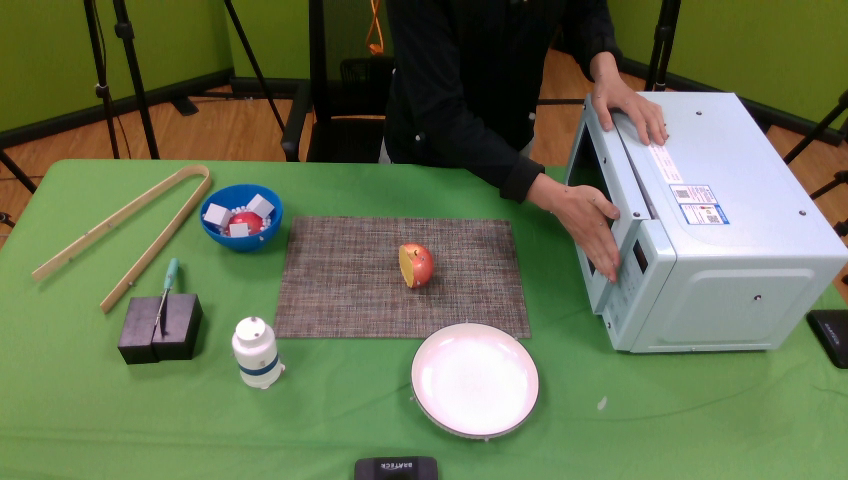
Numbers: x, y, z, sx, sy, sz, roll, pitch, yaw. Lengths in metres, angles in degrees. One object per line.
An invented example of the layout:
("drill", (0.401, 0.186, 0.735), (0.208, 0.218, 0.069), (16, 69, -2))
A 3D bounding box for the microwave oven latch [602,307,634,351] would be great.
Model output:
("microwave oven latch", (0.333, 0.153, 1.044), (0.030, 0.029, 0.078), (-1, 45, -4))

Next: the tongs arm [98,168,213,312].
("tongs arm", (-0.503, -0.012, 1.167), (0.028, 0.028, 0.385), (11, 45, 11))

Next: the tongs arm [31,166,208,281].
("tongs arm", (-0.578, -0.040, 1.184), (0.050, 0.026, 0.384), (23, 47, 17))

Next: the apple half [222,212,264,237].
("apple half", (-0.346, -0.033, 1.161), (0.081, 0.033, 0.081), (4, 46, -4))

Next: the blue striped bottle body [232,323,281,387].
("blue striped bottle body", (-0.262, 0.172, 0.944), (0.063, 0.121, 0.062), (2, 46, -2))

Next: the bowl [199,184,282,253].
("bowl", (-0.346, -0.030, 1.164), (0.151, 0.077, 0.150), (3, 46, -3))

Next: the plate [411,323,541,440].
("plate", (0.082, 0.228, 0.976), (0.208, 0.039, 0.206), (2, 45, -2))

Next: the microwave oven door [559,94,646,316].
("microwave oven door", (0.320, -0.074, 1.122), (0.039, 0.245, 0.353), (1, 46, -3))

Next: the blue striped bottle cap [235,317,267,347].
("blue striped bottle cap", (-0.259, 0.137, 0.907), (0.044, 0.021, 0.044), (2, 43, -2))

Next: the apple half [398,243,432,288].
("apple half", (-0.012, 0.047, 1.115), (0.053, 0.075, 0.080), (-10, 43, -21))

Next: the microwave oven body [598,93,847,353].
("microwave oven body", (0.476, -0.041, 1.110), (0.326, 0.261, 0.438), (-1, 45, -4))

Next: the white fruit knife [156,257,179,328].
("white fruit knife", (-0.440, 0.085, 1.037), (0.016, 0.027, 0.206), (10, 26, -19))
